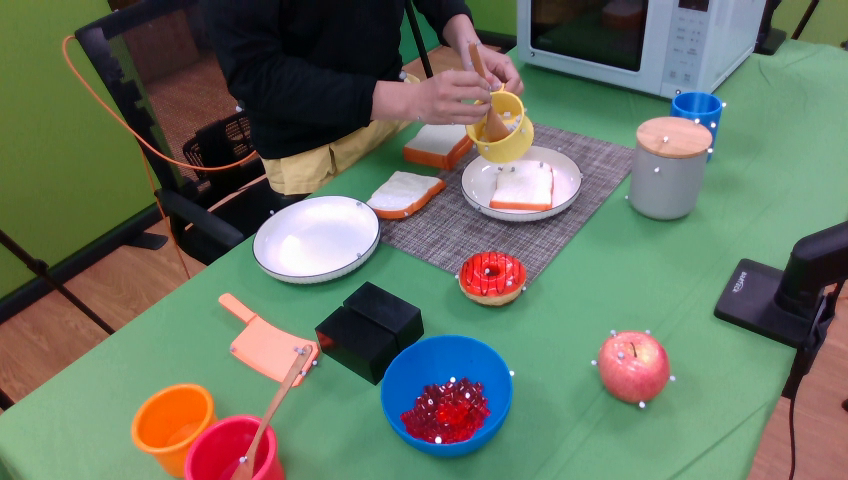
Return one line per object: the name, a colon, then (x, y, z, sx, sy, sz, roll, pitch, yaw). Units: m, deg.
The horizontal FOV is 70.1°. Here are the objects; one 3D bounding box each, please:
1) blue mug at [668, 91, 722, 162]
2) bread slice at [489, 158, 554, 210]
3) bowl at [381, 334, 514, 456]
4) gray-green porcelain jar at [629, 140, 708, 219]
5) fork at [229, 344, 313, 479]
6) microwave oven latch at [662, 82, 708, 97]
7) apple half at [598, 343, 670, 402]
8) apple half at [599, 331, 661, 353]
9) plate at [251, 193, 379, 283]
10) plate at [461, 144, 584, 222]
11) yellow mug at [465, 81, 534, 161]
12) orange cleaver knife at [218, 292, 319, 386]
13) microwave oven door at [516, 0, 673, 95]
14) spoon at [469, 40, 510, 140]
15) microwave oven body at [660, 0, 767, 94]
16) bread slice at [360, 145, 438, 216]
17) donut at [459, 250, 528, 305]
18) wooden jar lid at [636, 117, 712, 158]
blue mug: (0.474, -0.207, 1.078, 0.082, 0.106, 0.116, 4, 42, 13)
bread slice: (0.172, -0.099, 1.048, 0.104, 0.019, 0.131, 5, 44, 12)
bowl: (0.029, 0.192, 0.701, 0.151, 0.077, 0.150, -4, 40, 4)
gray-green porcelain jar: (0.383, -0.105, 0.958, 0.106, 0.127, 0.105, -4, 41, 4)
fork: (-0.173, 0.205, 0.661, 0.028, 0.019, 0.207, 29, 94, 36)
microwave oven latch: (0.518, -0.298, 1.203, 0.078, 0.029, 0.030, 28, 53, 35)
apple half: (0.247, 0.161, 0.710, 0.081, 0.075, 0.053, 2, 47, 5)
apple half: (0.249, 0.134, 0.738, 0.081, 0.081, 0.032, -1, 46, 7)
plate: (-0.174, -0.001, 0.985, 0.209, 0.038, 0.208, -4, 41, 4)
plate: (0.168, -0.095, 1.040, 0.207, 0.039, 0.206, -4, 40, 4)
yellow mug: (0.127, -0.202, 0.996, 0.099, 0.064, 0.130, 1, 68, 25)
orange cleaver knife: (-0.235, 0.136, 0.850, 0.209, 0.012, 0.077, 25, 57, 30)
microwave oven door: (0.344, -0.458, 1.257, 0.353, 0.245, 0.039, 26, 51, 33)
spoon: (0.095, -0.217, 0.911, 0.041, 0.195, 0.021, -3, 46, 22)
microwave oven body: (0.474, -0.517, 1.313, 0.438, 0.261, 0.327, 26, 51, 34)
bread slice: (-0.053, -0.103, 1.046, 0.106, 0.018, 0.134, 18, 66, 23)
donut: (0.100, 0.053, 0.872, 0.099, 0.048, 0.098, -4, 40, 4)
wooden jar lid: (0.377, -0.151, 0.917, 0.108, 0.021, 0.108, -2, 41, 2)
